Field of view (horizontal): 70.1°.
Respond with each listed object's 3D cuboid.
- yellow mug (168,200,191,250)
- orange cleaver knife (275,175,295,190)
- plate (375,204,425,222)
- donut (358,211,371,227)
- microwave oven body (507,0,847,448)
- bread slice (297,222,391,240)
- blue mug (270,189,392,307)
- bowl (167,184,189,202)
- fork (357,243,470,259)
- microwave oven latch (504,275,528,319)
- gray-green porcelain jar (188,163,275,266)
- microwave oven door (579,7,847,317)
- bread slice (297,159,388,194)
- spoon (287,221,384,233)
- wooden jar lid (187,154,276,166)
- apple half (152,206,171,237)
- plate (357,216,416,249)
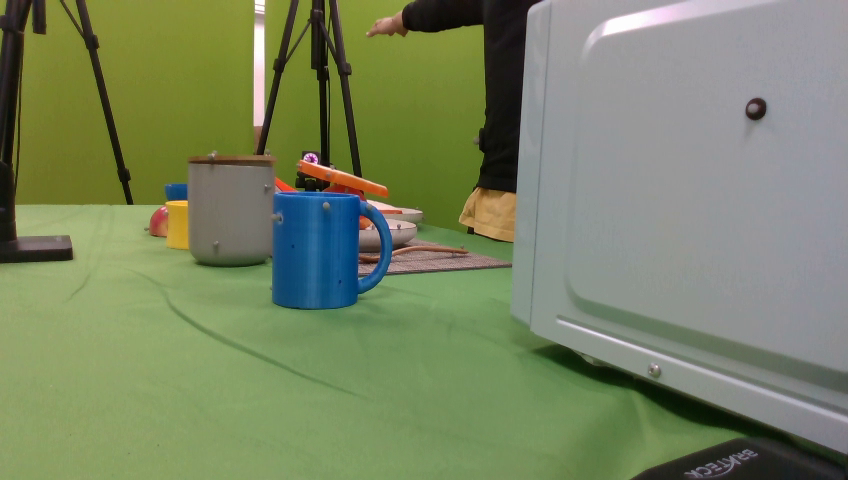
[{"bbox_3d":[-0.319,-0.023,0.904,0.130,0.064,0.100,8,10,36],"label":"yellow mug"},{"bbox_3d":[-0.283,-0.087,1.343,0.212,0.077,0.012,23,-16,-41],"label":"orange cleaver knife"},{"bbox_3d":[-0.102,-0.053,1.299,0.209,0.038,0.209,2,8,0],"label":"plate"},{"bbox_3d":[-0.129,-0.042,0.957,0.099,0.048,0.099,3,7,0],"label":"donut"},{"bbox_3d":[0.331,-0.042,0.425,0.444,0.260,0.324,-2,8,-31],"label":"microwave oven body"},{"bbox_3d":[-0.121,-0.015,0.970,0.106,0.018,0.135,10,9,40],"label":"bread slice"},{"bbox_3d":[-0.090,0.005,0.588,0.117,0.106,0.082,1,7,-11],"label":"blue mug"},{"bbox_3d":[-0.408,-0.064,1.154,0.151,0.077,0.151,2,8,0],"label":"bowl"},{"bbox_3d":[-0.017,0.014,0.845,0.208,0.018,0.028,-5,-1,-36],"label":"fork"},{"bbox_3d":[0.100,0.041,0.471,0.079,0.029,0.030,-1,7,-27],"label":"microwave oven latch"},{"bbox_3d":[-0.246,-0.034,0.780,0.106,0.126,0.106,2,7,0],"label":"gray-green porcelain jar"},{"bbox_3d":[0.294,-0.067,0.570,0.358,0.243,0.039,-3,9,-31],"label":"microwave oven door"},{"bbox_3d":[-0.132,-0.102,0.952,0.132,0.019,0.104,13,6,-36],"label":"bread slice"},{"bbox_3d":[-0.157,-0.027,1.110,0.195,0.021,0.041,-4,-14,-35],"label":"spoon"},{"bbox_3d":[-0.244,-0.097,0.771,0.108,0.020,0.108,-1,7,0],"label":"wooden jar lid"},{"bbox_3d":[-0.415,-0.034,1.017,0.081,0.053,0.074,1,10,-8],"label":"apple half"},{"bbox_3d":[-0.116,-0.014,0.967,0.208,0.039,0.207,2,7,0],"label":"plate"}]
